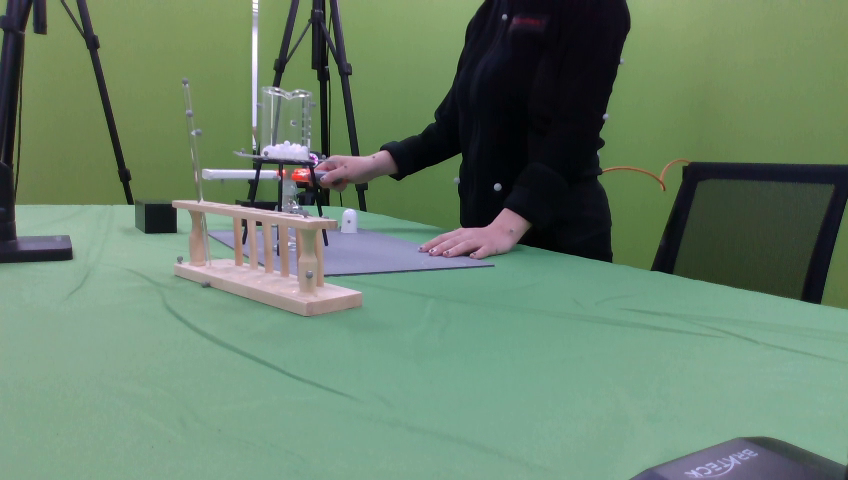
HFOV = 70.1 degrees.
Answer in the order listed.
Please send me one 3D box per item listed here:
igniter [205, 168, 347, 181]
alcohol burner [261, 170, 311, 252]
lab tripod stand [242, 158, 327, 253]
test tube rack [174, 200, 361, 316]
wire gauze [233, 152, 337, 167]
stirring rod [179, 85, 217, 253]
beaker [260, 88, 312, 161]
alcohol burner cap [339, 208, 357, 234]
[{"bbox_3d":[-0.278,-0.126,1.165,0.278,0.025,0.057,-4,13,-35],"label":"igniter"},{"bbox_3d":[-0.201,-0.043,0.891,0.078,0.119,0.078,1,6,0],"label":"alcohol burner"},{"bbox_3d":[-0.207,-0.054,0.895,0.148,0.131,0.148,2,5,0],"label":"lab tripod stand"},{"bbox_3d":[-0.169,0.009,0.622,0.241,0.085,0.067,9,9,41],"label":"test tube rack"},{"bbox_3d":[-0.205,-0.119,0.887,0.122,0.011,0.124,2,4,-32],"label":"wire gauze"},{"bbox_3d":[-0.236,-0.073,0.634,0.006,0.176,0.014,0,10,42],"label":"stirring rod"},{"bbox_3d":[-0.201,-0.166,0.876,0.074,0.100,0.083,1,7,-18],"label":"beaker"},{"bbox_3d":[-0.142,-0.036,1.136,0.034,0.048,0.034,3,7,0],"label":"alcohol burner cap"}]
